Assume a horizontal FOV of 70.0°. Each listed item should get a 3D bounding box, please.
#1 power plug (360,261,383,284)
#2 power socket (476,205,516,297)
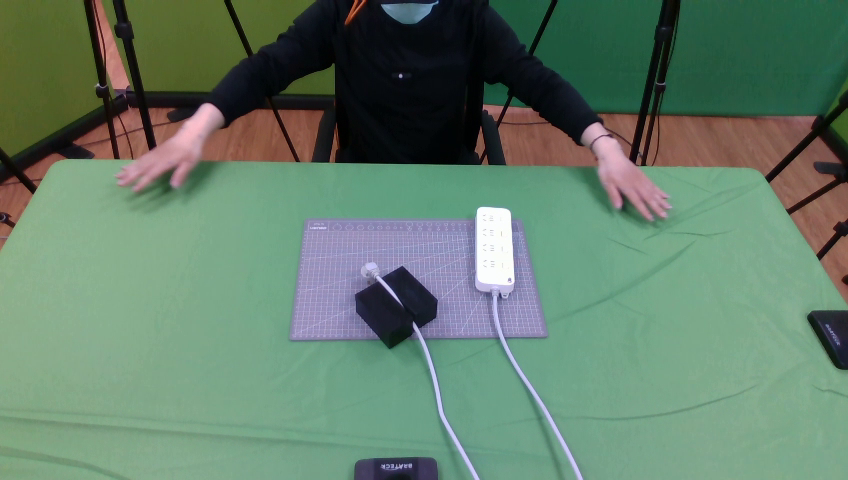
[{"bbox_3d":[-0.095,0.068,1.092,0.035,0.053,0.072,-9,45,-6],"label":"power plug"},{"bbox_3d":[0.139,0.013,1.178,0.072,0.033,0.225,4,47,2],"label":"power socket"}]
